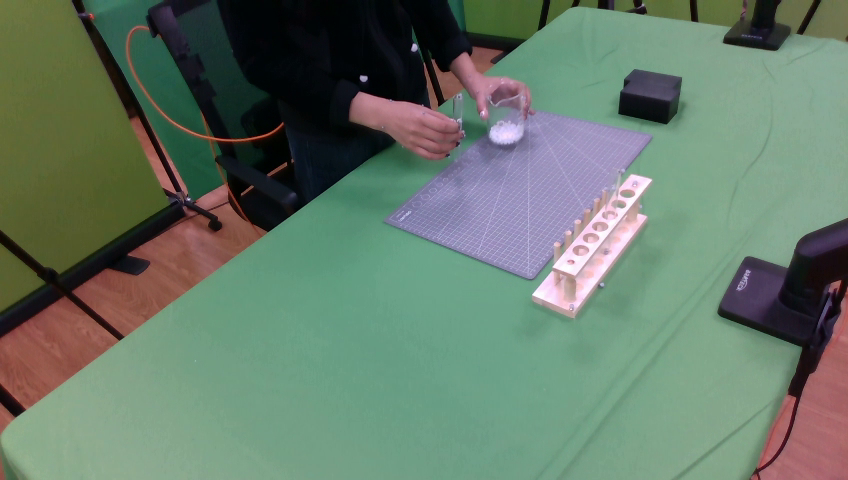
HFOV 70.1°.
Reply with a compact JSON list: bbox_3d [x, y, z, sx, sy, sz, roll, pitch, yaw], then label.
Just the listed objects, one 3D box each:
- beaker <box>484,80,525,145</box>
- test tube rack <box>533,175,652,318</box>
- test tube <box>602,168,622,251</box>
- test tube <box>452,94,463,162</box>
[{"bbox_3d":[0.153,-0.237,1.141,0.073,0.101,0.084,12,45,26],"label":"beaker"},{"bbox_3d":[0.251,-0.001,0.889,0.066,0.085,0.243,22,49,33],"label":"test tube rack"},{"bbox_3d":[0.264,-0.039,0.853,0.017,0.151,0.017,-5,44,6],"label":"test tube"},{"bbox_3d":[0.059,-0.193,1.064,0.017,0.151,0.017,-1,51,1],"label":"test tube"}]
